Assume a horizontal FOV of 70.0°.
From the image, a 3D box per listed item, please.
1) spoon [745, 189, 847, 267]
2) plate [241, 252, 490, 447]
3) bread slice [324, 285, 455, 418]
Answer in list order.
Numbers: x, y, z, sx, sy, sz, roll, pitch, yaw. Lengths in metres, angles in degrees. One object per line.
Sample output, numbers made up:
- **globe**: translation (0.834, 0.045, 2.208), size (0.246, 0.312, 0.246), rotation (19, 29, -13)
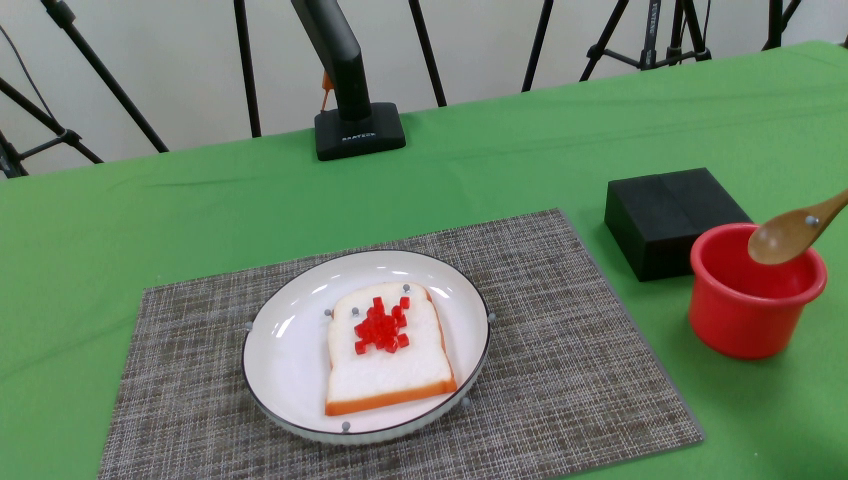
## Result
- **spoon**: translation (0.284, -0.032, 0.388), size (0.022, 0.194, 0.041), rotation (14, 60, -9)
- **plate**: translation (-0.048, 0.089, 0.520), size (0.209, 0.038, 0.207), rotation (-4, 39, 4)
- **bread slice**: translation (-0.036, 0.089, 0.523), size (0.105, 0.019, 0.130), rotation (-9, 40, -4)
